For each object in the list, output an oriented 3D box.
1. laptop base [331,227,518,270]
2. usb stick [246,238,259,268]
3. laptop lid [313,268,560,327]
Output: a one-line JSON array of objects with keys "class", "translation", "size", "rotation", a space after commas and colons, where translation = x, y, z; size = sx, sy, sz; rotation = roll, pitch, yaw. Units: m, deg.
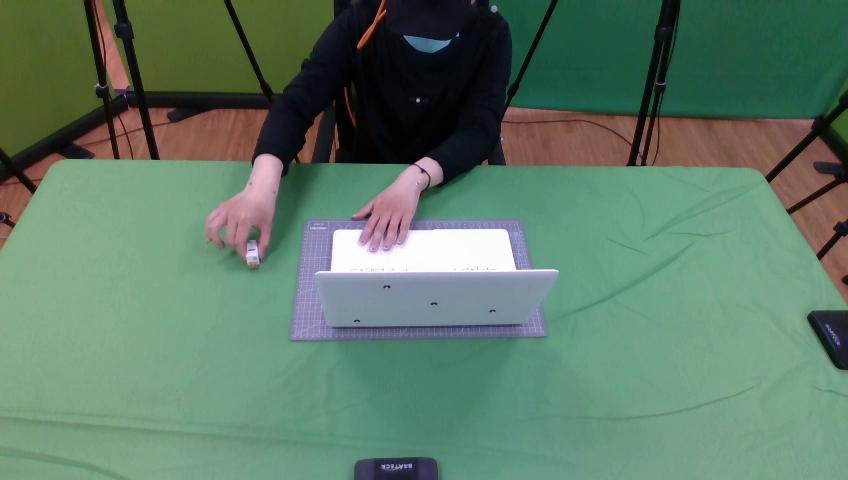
[{"class": "laptop base", "translation": [0.003, 0.063, 1.135], "size": [0.355, 0.023, 0.234], "rotation": [-1, 43, -4]}, {"class": "usb stick", "translation": [-0.323, 0.026, 1.141], "size": [0.021, 0.027, 0.059], "rotation": [4, 49, -20]}, {"class": "laptop lid", "translation": [0.015, 0.095, 0.949], "size": [0.357, 0.242, 0.013], "rotation": [0, 64, -5]}]
